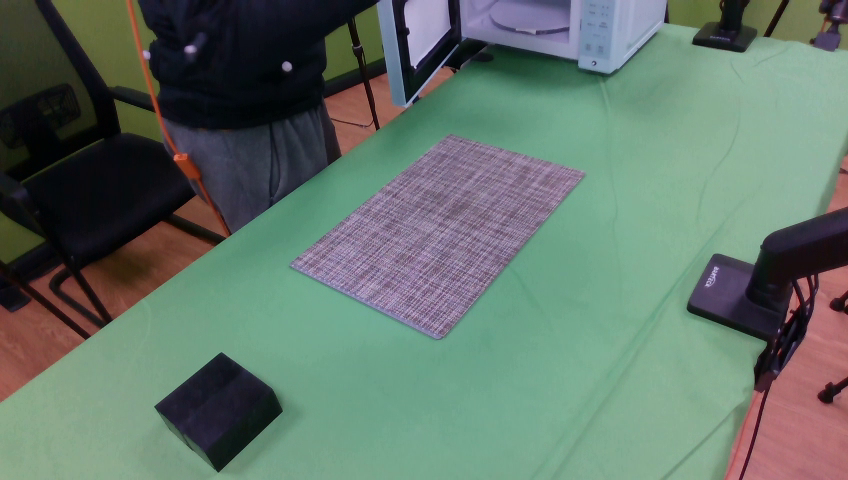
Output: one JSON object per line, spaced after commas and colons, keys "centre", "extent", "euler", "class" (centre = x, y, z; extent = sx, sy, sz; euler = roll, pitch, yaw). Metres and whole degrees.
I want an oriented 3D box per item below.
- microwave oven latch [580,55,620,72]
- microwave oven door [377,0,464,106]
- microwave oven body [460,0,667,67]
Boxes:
{"centre": [0.386, -0.393, 1.330], "extent": [0.078, 0.029, 0.030], "euler": [25, 51, 32], "class": "microwave oven latch"}
{"centre": [0.003, -0.494, 1.344], "extent": [0.039, 0.245, 0.356], "euler": [11, 45, 21], "class": "microwave oven door"}
{"centre": [0.324, -0.609, 1.437], "extent": [0.438, 0.261, 0.327], "euler": [23, 50, 31], "class": "microwave oven body"}
